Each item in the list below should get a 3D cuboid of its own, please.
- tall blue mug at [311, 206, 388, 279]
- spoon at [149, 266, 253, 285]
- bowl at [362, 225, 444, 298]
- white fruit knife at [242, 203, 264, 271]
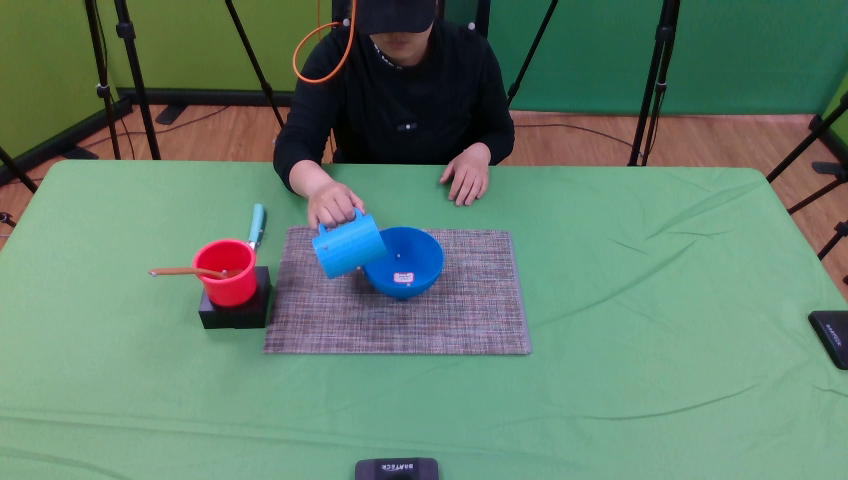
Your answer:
[{"bbox_3d":[-0.131,-0.004,1.018,0.108,0.078,0.107,-24,92,-3],"label":"tall blue mug"},{"bbox_3d":[-0.351,0.052,0.968,0.041,0.021,0.194,41,13,28],"label":"spoon"},{"bbox_3d":[-0.040,0.053,1.099,0.151,0.077,0.150,2,46,-2],"label":"bowl"},{"bbox_3d":[-0.334,0.001,1.178,0.027,0.016,0.206,-18,46,16],"label":"white fruit knife"}]
